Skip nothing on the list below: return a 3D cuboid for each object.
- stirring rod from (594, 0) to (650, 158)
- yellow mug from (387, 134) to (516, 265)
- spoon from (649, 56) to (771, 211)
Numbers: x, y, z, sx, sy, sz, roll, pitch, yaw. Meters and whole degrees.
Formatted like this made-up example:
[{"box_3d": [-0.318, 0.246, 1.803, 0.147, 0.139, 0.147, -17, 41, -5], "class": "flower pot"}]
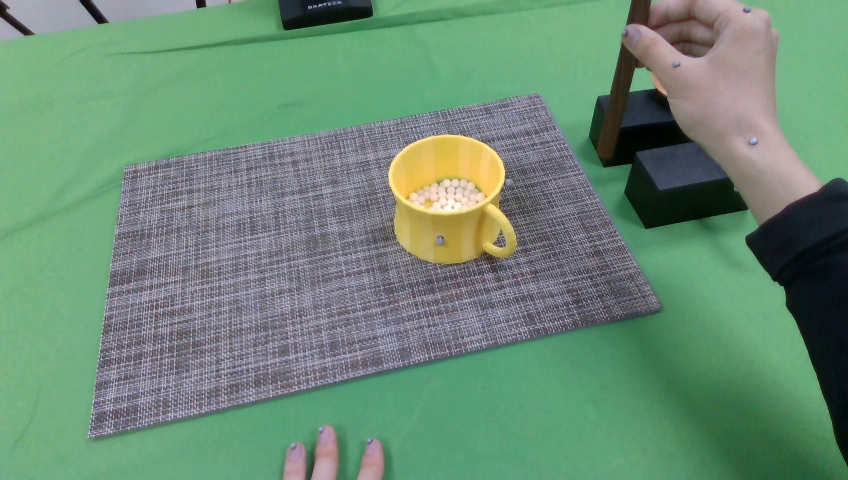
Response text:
[{"box_3d": [0.149, -0.139, 0.444, 0.014, 0.177, 0.006, 23, 42, 25], "class": "stirring rod"}, {"box_3d": [0.031, -0.029, 0.529, 0.100, 0.064, 0.129, -38, 59, -25], "class": "yellow mug"}, {"box_3d": [0.256, -0.102, 0.548, 0.042, 0.022, 0.191, -11, 52, -7], "class": "spoon"}]
